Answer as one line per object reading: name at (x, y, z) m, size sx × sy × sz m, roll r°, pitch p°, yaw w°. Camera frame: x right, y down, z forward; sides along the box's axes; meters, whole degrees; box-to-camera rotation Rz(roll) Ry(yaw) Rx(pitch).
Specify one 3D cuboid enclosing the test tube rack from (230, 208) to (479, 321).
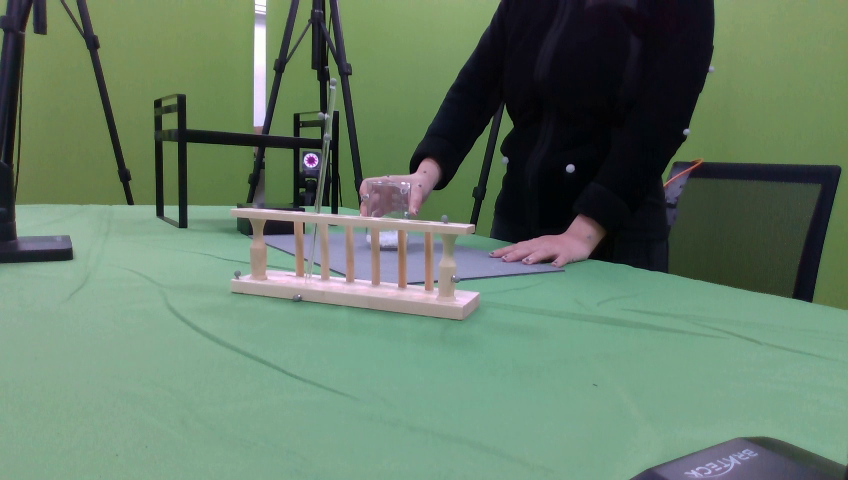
test tube rack at (-0.069, 0.017, 0.598) m, size 0.242 × 0.085 × 0.067 m, roll 5°, pitch 8°, yaw 18°

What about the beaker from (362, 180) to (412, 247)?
beaker at (-0.056, -0.041, 0.939) m, size 0.074 × 0.100 × 0.083 m, roll -6°, pitch 12°, yaw -44°

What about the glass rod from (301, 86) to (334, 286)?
glass rod at (-0.104, -0.049, 0.588) m, size 0.008 × 0.199 × 0.008 m, roll 9°, pitch 7°, yaw -1°
